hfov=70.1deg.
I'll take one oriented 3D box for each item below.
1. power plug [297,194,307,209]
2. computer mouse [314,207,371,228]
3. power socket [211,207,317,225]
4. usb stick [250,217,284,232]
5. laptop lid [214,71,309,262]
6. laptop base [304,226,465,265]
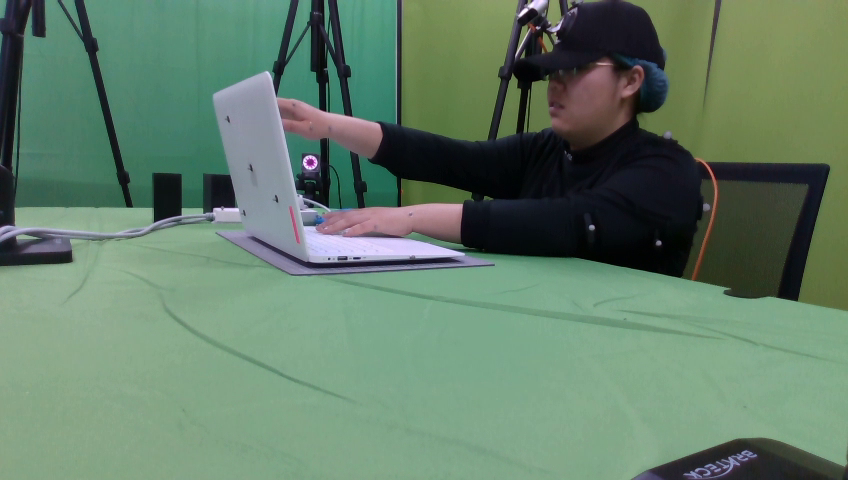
[{"bbox_3d":[-0.281,-0.076,1.340,0.035,0.052,0.072,4,5,-19],"label":"power plug"},{"bbox_3d":[-0.175,-0.047,1.292,0.118,0.041,0.062,-8,14,-34],"label":"computer mouse"},{"bbox_3d":[-0.334,-0.052,1.282,0.228,0.032,0.072,-2,9,-28],"label":"power socket"},{"bbox_3d":[-0.291,-0.028,1.118,0.059,0.027,0.021,-2,10,-28],"label":"usb stick"},{"bbox_3d":[-0.245,-0.105,0.870,0.013,0.241,0.355,-16,16,-27],"label":"laptop lid"},{"bbox_3d":[-0.124,0.007,0.955,0.237,0.023,0.352,2,6,-30],"label":"laptop base"}]
